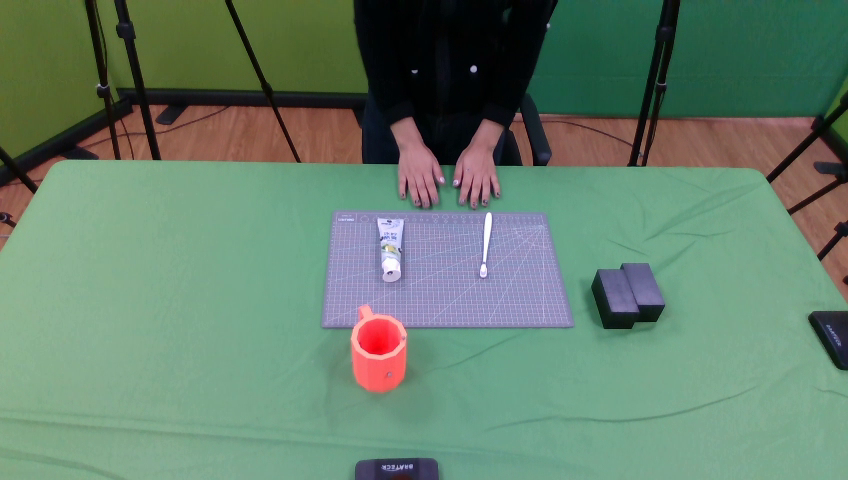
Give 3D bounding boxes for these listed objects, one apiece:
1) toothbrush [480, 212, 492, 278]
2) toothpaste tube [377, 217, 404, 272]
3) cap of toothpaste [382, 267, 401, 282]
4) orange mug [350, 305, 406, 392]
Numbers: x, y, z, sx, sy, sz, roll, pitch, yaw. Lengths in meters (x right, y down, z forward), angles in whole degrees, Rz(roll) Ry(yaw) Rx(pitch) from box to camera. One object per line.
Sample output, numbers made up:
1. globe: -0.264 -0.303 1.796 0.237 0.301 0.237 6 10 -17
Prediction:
1. toothbrush: 0.124 0.004 1.202 0.014 0.017 0.181 -3 43 14
2. toothpaste tube: -0.063 0.008 1.179 0.055 0.034 0.164 5 42 -9
3. cap of toothpaste: -0.060 0.063 1.119 0.037 0.037 0.011 -9 50 -12
4. orange mug: -0.080 0.168 0.978 0.083 0.101 0.125 -16 54 -18
